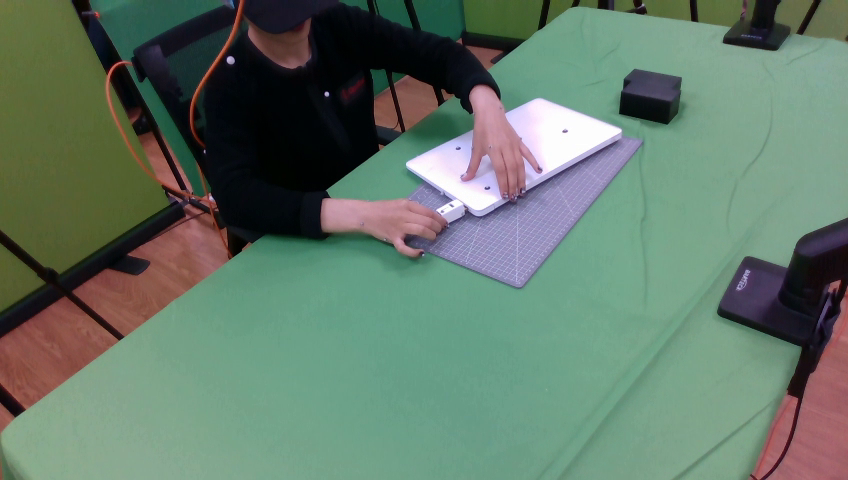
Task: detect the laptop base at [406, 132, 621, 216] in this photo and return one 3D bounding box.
[{"bbox_3d":[0.169,-0.167,1.151,0.356,0.023,0.233,-29,39,-22],"label":"laptop base"}]

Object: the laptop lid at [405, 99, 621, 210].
[{"bbox_3d":[0.166,-0.176,1.146,0.358,0.013,0.239,-28,40,-21],"label":"laptop lid"}]

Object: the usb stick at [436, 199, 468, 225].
[{"bbox_3d":[0.050,-0.050,1.015,0.059,0.027,0.021,-24,42,-21],"label":"usb stick"}]
